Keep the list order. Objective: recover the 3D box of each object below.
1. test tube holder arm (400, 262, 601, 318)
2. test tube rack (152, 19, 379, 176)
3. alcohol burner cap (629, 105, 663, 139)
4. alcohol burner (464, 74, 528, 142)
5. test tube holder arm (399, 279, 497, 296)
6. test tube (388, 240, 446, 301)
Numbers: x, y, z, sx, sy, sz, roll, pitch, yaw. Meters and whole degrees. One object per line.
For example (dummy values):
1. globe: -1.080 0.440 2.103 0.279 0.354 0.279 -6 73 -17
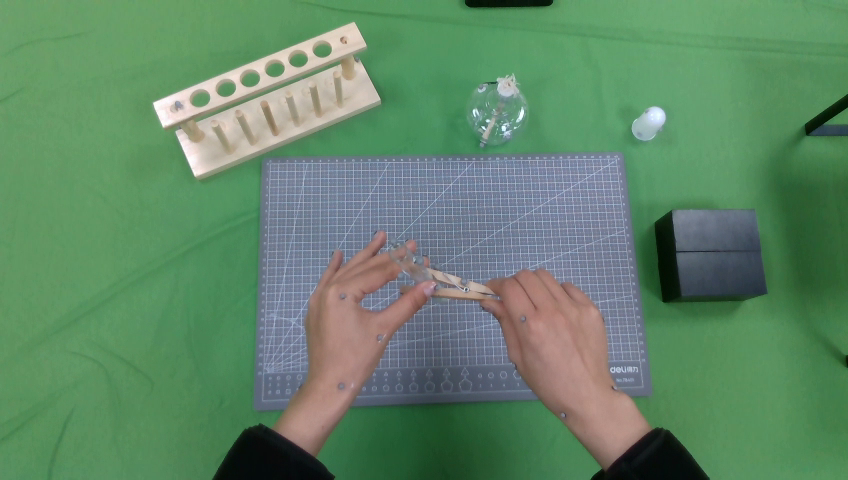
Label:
1. test tube holder arm: 0.066 0.044 0.534 0.178 0.015 0.013 11 92 8
2. test tube rack: -0.177 -0.166 0.714 0.242 0.085 0.066 -25 78 -9
3. alcohol burner cap: 0.281 -0.150 0.759 0.034 0.048 0.033 0 75 -2
4. alcohol burner: 0.088 -0.164 0.715 0.078 0.119 0.077 1 77 -4
5. test tube holder arm: 0.021 0.043 0.540 0.087 0.015 0.010 3 90 8
6. test tube: -0.003 0.030 0.527 0.017 0.151 0.017 -4 71 13
